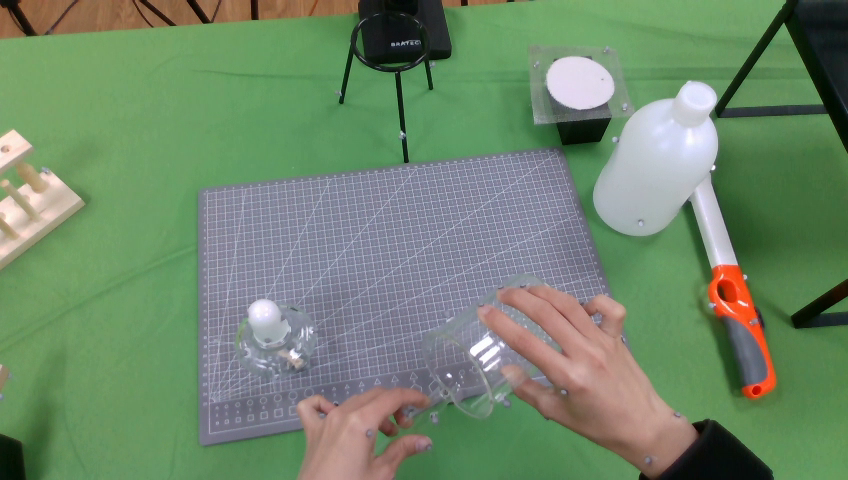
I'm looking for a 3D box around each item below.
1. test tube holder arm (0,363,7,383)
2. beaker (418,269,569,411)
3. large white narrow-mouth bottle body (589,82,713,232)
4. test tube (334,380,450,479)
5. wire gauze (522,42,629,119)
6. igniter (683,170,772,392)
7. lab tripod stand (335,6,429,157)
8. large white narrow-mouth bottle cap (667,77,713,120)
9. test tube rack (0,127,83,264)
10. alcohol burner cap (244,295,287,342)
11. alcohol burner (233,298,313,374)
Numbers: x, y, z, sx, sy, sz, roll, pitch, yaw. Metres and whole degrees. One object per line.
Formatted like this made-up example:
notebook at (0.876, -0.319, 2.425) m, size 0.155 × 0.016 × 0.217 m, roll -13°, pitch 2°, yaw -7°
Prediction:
test tube holder arm at (-0.403, 0.192, 0.521) m, size 0.013 × 0.015 × 0.177 m, roll 1°, pitch 62°, yaw 7°
beaker at (0.056, 0.075, 0.470) m, size 0.100 × 0.084 × 0.073 m, roll -32°, pitch 67°, yaw -29°
large white narrow-mouth bottle body at (0.250, -0.094, 0.656) m, size 0.102 × 0.196 × 0.101 m, roll 1°, pitch 62°, yaw -2°
test tube at (-0.032, 0.168, 0.502) m, size 0.150 × 0.017 × 0.017 m, roll -48°, pitch 68°, yaw 19°
wire gauze at (0.187, -0.202, 0.758) m, size 0.121 × 0.011 × 0.124 m, roll -1°, pitch 62°, yaw -3°
igniter at (0.337, 0.035, 0.688) m, size 0.057 × 0.025 × 0.274 m, roll 3°, pitch 62°, yaw -13°
lab tripod stand at (-0.041, -0.195, 0.728) m, size 0.148 × 0.132 × 0.147 m, roll 2°, pitch 63°, yaw -4°
large white narrow-mouth bottle cap at (0.253, -0.136, 0.580) m, size 0.038 × 0.024 × 0.037 m, roll 1°, pitch 62°, yaw -2°
test tube rack at (-0.498, -0.002, 0.632) m, size 0.066 × 0.086 × 0.242 m, roll 37°, pitch 67°, yaw 15°
alcohol burner cap at (-0.147, 0.070, 0.553) m, size 0.034 × 0.048 × 0.033 m, roll 0°, pitch 57°, yaw 1°
alcohol burner at (-0.148, 0.086, 0.585) m, size 0.078 × 0.120 × 0.077 m, roll 2°, pitch 61°, yaw -3°
